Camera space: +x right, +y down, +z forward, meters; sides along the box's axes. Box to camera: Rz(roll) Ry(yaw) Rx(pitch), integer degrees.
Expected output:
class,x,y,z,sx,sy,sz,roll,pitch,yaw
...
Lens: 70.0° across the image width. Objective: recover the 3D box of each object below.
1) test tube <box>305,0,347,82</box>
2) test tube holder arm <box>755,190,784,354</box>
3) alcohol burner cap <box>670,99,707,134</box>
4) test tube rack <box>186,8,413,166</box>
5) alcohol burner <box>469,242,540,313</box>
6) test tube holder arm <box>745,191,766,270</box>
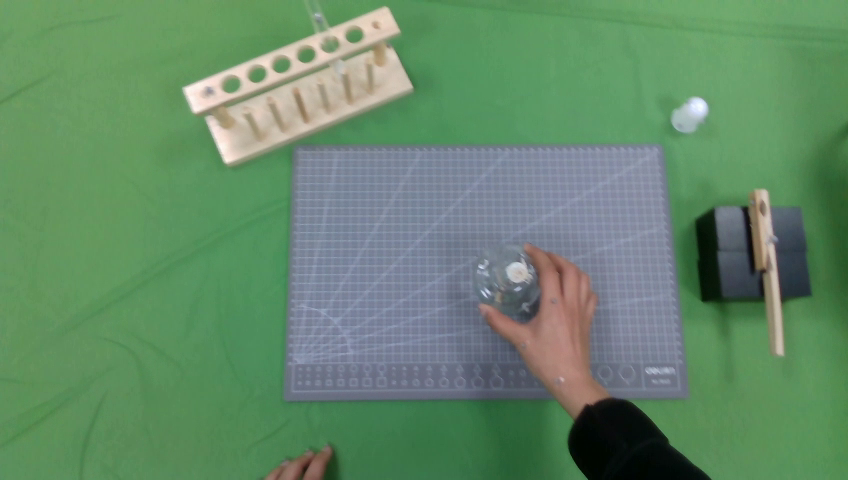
class,x,y,z,sx,sy,sz,roll,pitch,yaw
test tube,-0.106,-0.223,0.663,0.017,0.151,0.017,-3,67,7
test tube holder arm,0.372,0.033,0.657,0.013,0.015,0.177,-2,79,-1
alcohol burner cap,0.322,-0.151,0.733,0.034,0.048,0.033,0,76,0
test tube rack,-0.136,-0.175,0.704,0.242,0.085,0.066,-24,78,-7
alcohol burner,0.088,0.038,0.644,0.078,0.119,0.077,0,81,-3
test tube holder arm,0.365,-0.011,0.665,0.010,0.015,0.087,-1,79,-1
